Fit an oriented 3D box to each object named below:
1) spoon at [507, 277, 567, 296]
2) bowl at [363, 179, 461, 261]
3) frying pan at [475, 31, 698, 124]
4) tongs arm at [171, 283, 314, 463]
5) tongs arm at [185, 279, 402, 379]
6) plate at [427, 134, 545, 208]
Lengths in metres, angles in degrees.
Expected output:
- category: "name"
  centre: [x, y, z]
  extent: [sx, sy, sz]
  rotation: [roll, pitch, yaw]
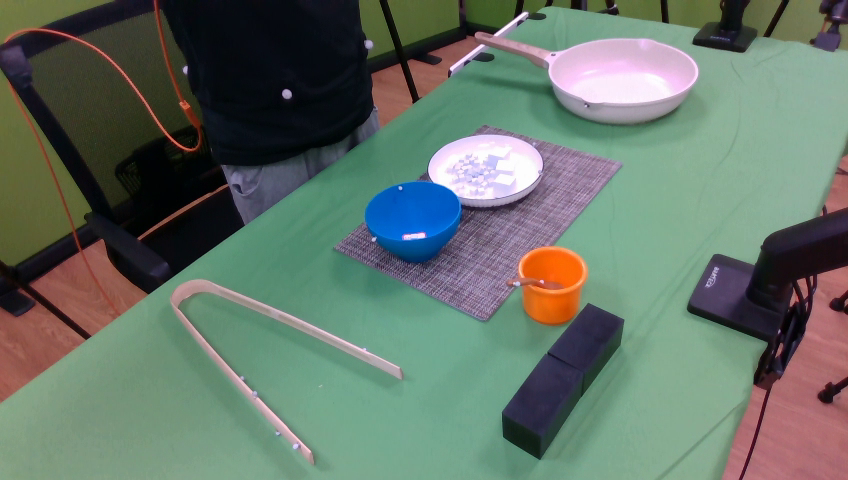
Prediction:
- category: "spoon"
  centre: [0.143, 0.058, 0.783]
  extent: [0.041, 0.195, 0.021]
  rotation: [15, 89, 29]
- category: "bowl"
  centre: [-0.014, -0.020, 0.943]
  extent: [0.151, 0.077, 0.150]
  rotation: [-4, 41, 4]
- category: "frying pan"
  centre: [0.320, -0.371, 1.290]
  extent: [0.485, 0.103, 0.307]
  rotation: [28, 50, 23]
- category: "tongs arm"
  centre: [-0.247, 0.161, 0.806]
  extent: [0.381, 0.026, 0.051]
  rotation: [28, 51, 36]
- category: "tongs arm"
  centre: [-0.194, 0.120, 0.853]
  extent: [0.385, 0.028, 0.028]
  rotation: [17, 49, 26]
- category: "plate"
  centre: [0.110, -0.119, 1.073]
  extent: [0.207, 0.039, 0.206]
  rotation: [-4, 40, 4]
